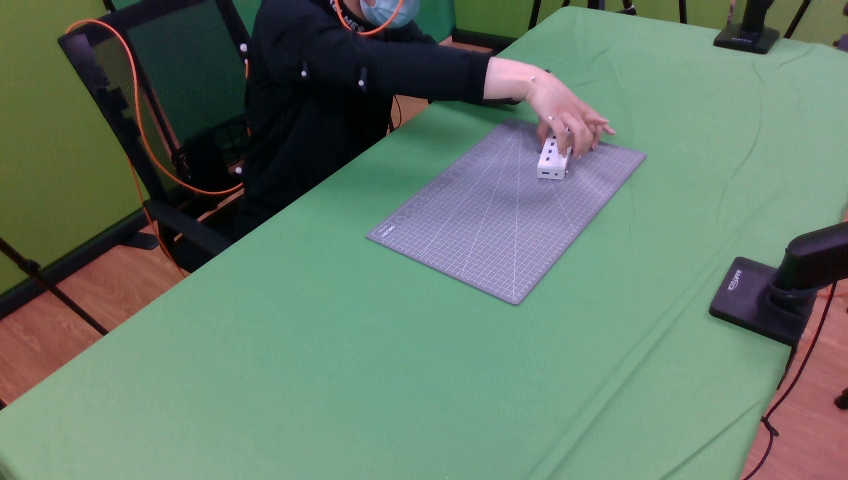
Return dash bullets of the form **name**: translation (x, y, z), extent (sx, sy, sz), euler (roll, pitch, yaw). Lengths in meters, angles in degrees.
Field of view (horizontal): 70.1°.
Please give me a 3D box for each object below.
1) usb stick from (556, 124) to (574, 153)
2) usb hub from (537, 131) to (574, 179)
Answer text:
- **usb stick**: translation (0.250, -0.176, 1.077), extent (0.027, 0.059, 0.021), euler (12, 48, 11)
- **usb hub**: translation (0.243, -0.158, 1.111), extent (0.049, 0.025, 0.125), euler (8, 44, 17)
